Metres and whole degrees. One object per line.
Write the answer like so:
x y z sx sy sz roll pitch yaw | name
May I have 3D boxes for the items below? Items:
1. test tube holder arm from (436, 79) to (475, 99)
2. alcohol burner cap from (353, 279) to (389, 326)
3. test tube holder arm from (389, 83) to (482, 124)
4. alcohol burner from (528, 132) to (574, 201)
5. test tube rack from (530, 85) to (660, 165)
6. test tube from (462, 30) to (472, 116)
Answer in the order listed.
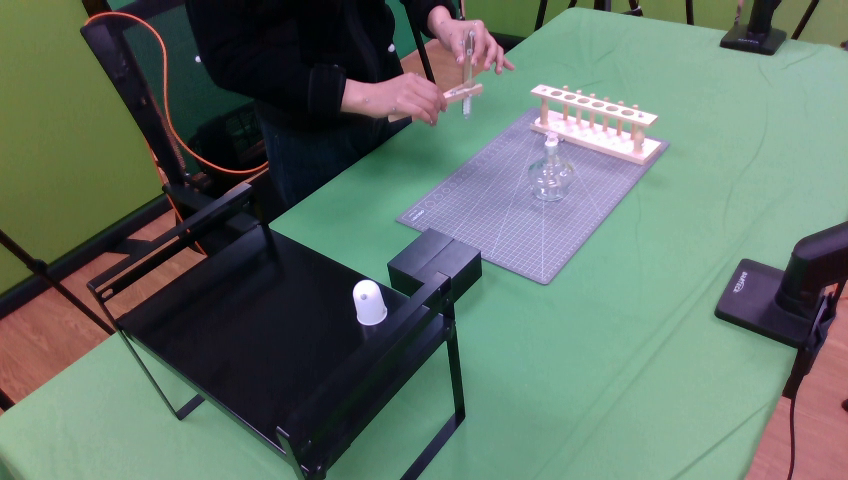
0.055 -0.253 1.038 0.088 0.015 0.010 -34 50 -28 | test tube holder arm
-0.055 0.061 0.616 0.034 0.048 0.033 -4 41 4 | alcohol burner cap
0.021 -0.231 1.017 0.179 0.015 0.013 -24 45 -20 | test tube holder arm
0.214 -0.126 1.016 0.078 0.119 0.077 -5 38 5 | alcohol burner
0.320 -0.226 1.140 0.240 0.085 0.067 27 51 34 | test tube rack
0.073 -0.280 1.028 0.017 0.151 0.017 -1 38 2 | test tube
